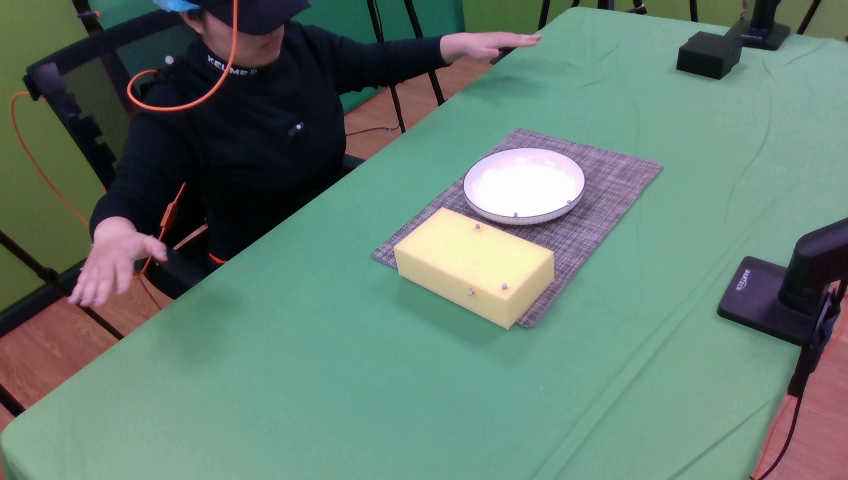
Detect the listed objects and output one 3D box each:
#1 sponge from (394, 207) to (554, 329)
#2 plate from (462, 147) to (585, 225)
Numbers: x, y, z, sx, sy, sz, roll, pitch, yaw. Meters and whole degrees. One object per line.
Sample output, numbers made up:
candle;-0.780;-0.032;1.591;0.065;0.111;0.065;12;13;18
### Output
sponge;0.073;0.035;0.895;0.205;0.061;0.118;24;50;33
plate;0.170;-0.089;1.041;0.207;0.039;0.206;-5;40;5
